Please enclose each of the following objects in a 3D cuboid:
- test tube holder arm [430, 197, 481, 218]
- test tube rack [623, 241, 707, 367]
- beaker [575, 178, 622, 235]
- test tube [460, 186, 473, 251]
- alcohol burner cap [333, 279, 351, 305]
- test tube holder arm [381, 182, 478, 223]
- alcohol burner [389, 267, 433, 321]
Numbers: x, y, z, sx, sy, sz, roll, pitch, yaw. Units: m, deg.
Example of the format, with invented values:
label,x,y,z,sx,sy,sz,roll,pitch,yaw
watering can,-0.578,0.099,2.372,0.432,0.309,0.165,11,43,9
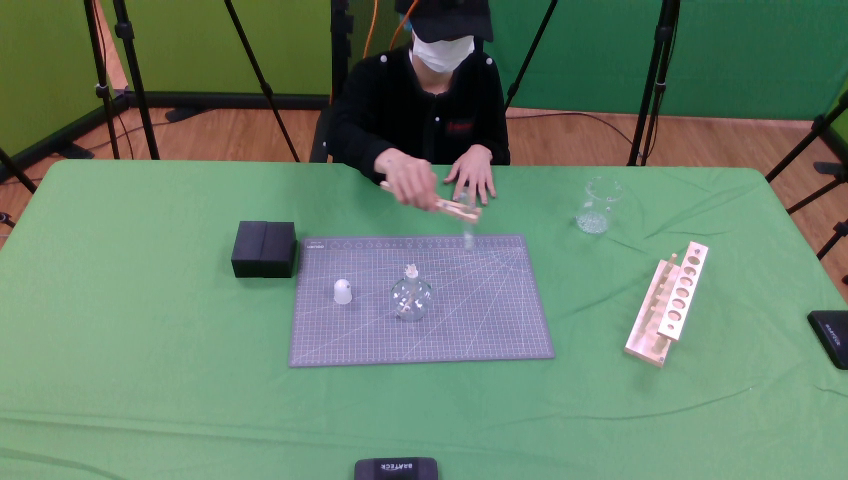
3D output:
label,x,y,z,sx,sy,sz,roll,pitch,yaw
test tube holder arm,0.049,-0.053,0.968,0.087,0.015,0.010,14,51,17
test tube rack,0.435,0.104,1.089,0.066,0.085,0.242,24,49,19
beaker,0.356,-0.068,1.239,0.084,0.101,0.073,-18,50,-21
test tube,0.070,-0.031,0.974,0.017,0.151,0.017,-3,52,4
alcohol burner cap,-0.148,0.090,1.083,0.034,0.048,0.033,3,47,-3
test tube holder arm,0.006,-0.062,0.980,0.178,0.015,0.013,20,53,21
alcohol burner,-0.022,0.085,1.046,0.078,0.119,0.077,2,48,-2
